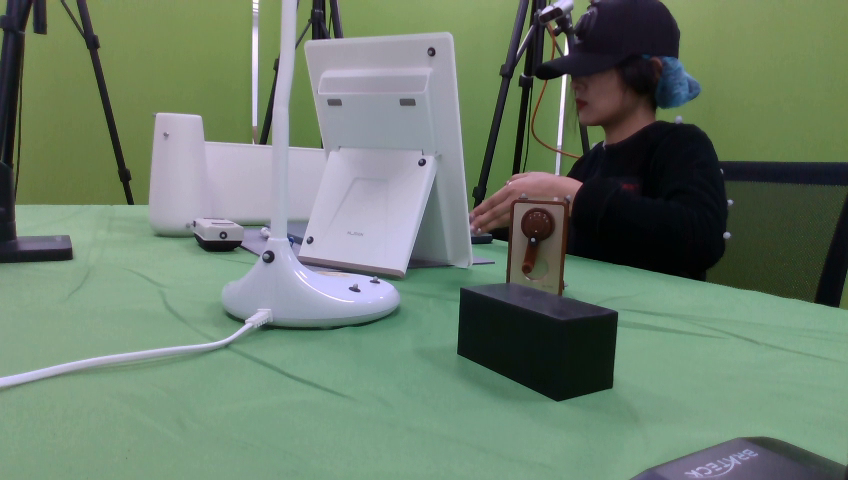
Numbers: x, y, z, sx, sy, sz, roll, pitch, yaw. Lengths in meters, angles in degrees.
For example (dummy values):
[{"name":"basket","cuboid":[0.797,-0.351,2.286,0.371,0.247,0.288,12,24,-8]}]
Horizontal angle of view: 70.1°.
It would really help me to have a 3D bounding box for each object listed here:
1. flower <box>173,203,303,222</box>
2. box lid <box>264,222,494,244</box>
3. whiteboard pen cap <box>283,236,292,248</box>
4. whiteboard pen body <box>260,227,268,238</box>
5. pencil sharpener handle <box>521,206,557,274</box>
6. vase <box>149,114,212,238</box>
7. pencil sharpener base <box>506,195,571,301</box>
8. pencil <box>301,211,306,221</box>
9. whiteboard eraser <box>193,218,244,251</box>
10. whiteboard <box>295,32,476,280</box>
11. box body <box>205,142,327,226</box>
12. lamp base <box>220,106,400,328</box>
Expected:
[{"name":"flower","cuboid":[-0.382,-0.061,1.309,0.044,0.038,0.363,0,3,29]},{"name":"box lid","cuboid":[-0.081,-0.014,1.117,0.373,0.015,0.262,-2,9,-32]},{"name":"whiteboard pen cap","cuboid":[-0.211,0.003,0.913,0.018,0.018,0.033,-2,6,-28]},{"name":"whiteboard pen body","cuboid":[-0.239,-0.005,0.964,0.017,0.017,0.140,-2,9,-28]},{"name":"pencil sharpener handle","cuboid":[0.112,0.000,0.611,0.036,0.067,0.031,13,10,11]},{"name":"vase","cuboid":[-0.405,-0.106,1.005,0.098,0.200,0.098,2,6,0]},{"name":"pencil sharpener base","cuboid":[0.126,0.007,0.662,0.061,0.107,0.077,4,8,13]},{"name":"pencil","cuboid":[-0.268,-0.056,1.351,0.012,0.012,0.193,1,6,-11]},{"name":"whiteboard eraser","cuboid":[-0.307,-0.009,0.900,0.056,0.042,0.112,-4,10,-28]},{"name":"whiteboard","cuboid":[-0.076,-0.084,0.747,0.216,0.305,0.144,7,28,29]},{"name":"box body","cuboid":[-0.363,-0.123,1.293,0.366,0.160,0.253,-2,9,-32]},{"name":"lamp base","cuboid":[-0.102,-0.023,0.531,0.160,0.180,0.179,4,10,10]}]
